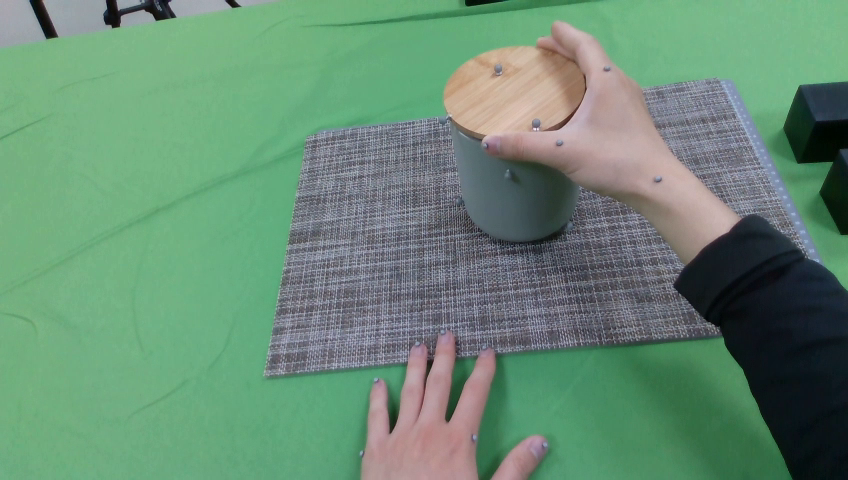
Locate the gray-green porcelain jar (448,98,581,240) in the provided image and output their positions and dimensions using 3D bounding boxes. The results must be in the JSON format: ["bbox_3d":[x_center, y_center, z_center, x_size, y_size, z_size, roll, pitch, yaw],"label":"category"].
[{"bbox_3d":[0.079,-0.070,0.519,0.106,0.128,0.105,-6,50,7],"label":"gray-green porcelain jar"}]

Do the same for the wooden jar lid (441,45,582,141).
[{"bbox_3d":[0.067,-0.112,0.470,0.108,0.021,0.107,-6,53,8],"label":"wooden jar lid"}]
